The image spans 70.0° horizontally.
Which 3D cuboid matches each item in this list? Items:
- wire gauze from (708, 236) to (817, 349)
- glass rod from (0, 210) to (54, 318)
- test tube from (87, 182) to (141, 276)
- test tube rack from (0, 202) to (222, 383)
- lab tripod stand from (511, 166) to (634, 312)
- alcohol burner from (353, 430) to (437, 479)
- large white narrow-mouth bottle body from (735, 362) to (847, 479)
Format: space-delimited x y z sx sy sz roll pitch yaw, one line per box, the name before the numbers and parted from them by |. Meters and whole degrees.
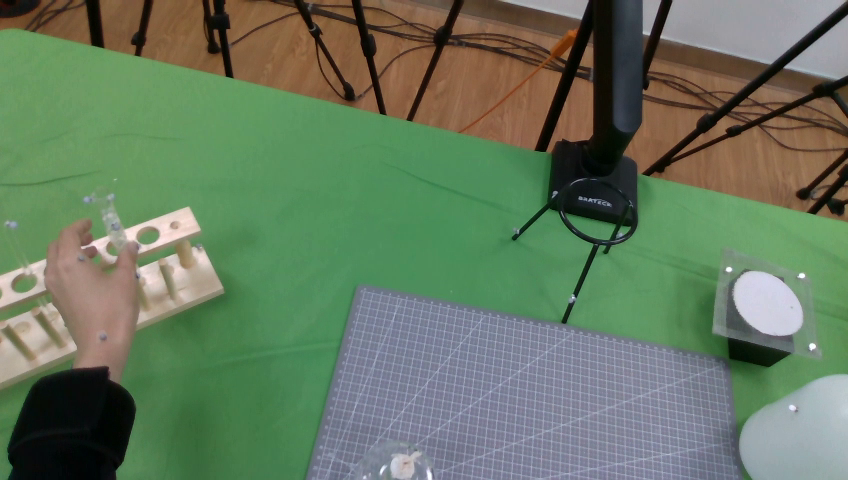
wire gauze | 0.398 0.061 0.715 0.121 0.011 0.124 18 57 3
glass rod | -0.371 0.015 0.555 0.008 0.201 0.008 7 48 -7
test tube | -0.302 -0.004 0.597 0.017 0.151 0.017 5 55 -7
test tube rack | -0.341 0.053 0.615 0.243 0.086 0.066 -25 65 -22
lab tripod stand | 0.178 -0.008 0.707 0.149 0.132 0.147 5 59 -7
alcohol burner | -0.024 0.207 0.549 0.078 0.120 0.077 5 57 -8
large white narrow-mouth bottle body | 0.398 0.176 0.591 0.102 0.196 0.101 4 57 -5
